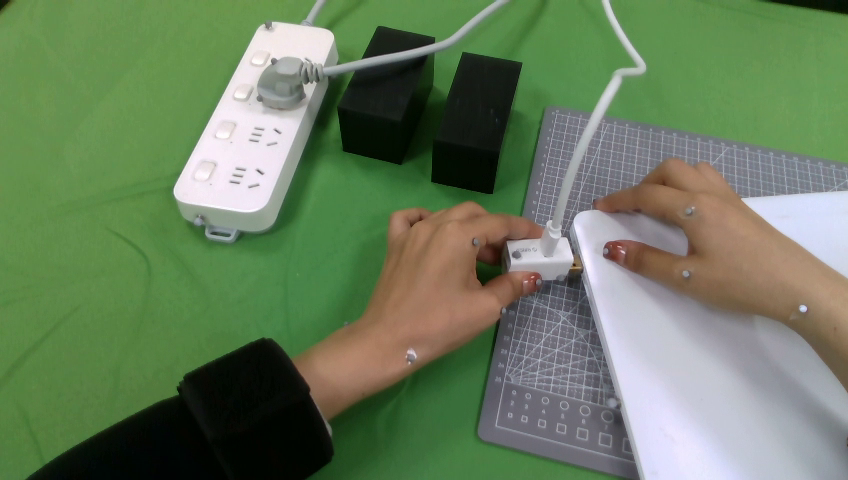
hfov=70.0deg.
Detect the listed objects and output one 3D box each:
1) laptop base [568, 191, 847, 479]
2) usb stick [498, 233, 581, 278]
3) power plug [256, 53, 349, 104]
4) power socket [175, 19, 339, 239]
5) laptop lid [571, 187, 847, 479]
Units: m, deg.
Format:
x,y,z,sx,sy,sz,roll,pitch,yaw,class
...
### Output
x,y,z,sx,sy,sz,roll,pitch,yaw,class
0.291,0.067,0.408,0.355,0.023,0.233,-4,60,-5,laptop base
0.083,0.011,0.416,0.059,0.027,0.021,-1,53,-13,usb stick
-0.097,-0.117,0.477,0.072,0.053,0.035,19,58,10,power plug
-0.129,-0.102,0.494,0.072,0.033,0.225,11,57,3,power socket
0.291,0.063,0.396,0.357,0.013,0.239,-3,59,-4,laptop lid
